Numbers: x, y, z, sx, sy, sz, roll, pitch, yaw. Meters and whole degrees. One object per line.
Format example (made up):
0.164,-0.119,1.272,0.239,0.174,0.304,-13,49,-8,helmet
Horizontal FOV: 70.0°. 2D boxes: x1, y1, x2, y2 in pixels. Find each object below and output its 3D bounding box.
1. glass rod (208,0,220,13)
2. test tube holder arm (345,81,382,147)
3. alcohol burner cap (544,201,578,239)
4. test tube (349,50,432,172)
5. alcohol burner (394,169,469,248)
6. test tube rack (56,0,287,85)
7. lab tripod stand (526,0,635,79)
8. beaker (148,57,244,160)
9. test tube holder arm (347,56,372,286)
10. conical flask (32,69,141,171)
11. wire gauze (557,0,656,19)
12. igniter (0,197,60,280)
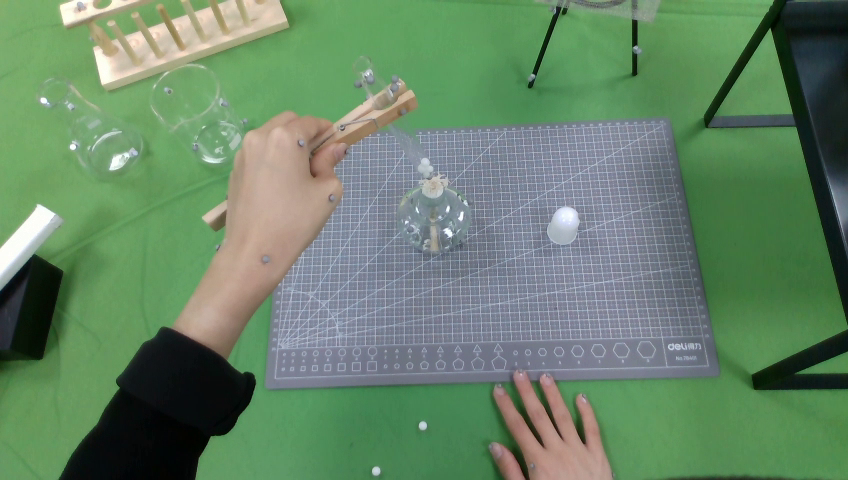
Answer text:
-0.282,-0.340,0.695,0.008,0.201,0.008,-4,61,8,glass rod
-0.047,-0.091,0.463,0.015,0.088,0.010,3,66,-15,test tube holder arm
0.146,-0.024,0.640,0.034,0.048,0.033,-1,68,2,alcohol burner cap
-0.022,-0.096,0.481,0.017,0.152,0.017,-7,64,16,test tube
0.007,-0.037,0.613,0.078,0.120,0.077,0,67,1,alcohol burner
-0.303,-0.282,0.743,0.242,0.086,0.066,-22,68,-6,test tube rack
0.183,-0.258,0.685,0.148,0.132,0.147,0,67,1,lab tripod stand
-0.250,-0.139,0.677,0.074,0.101,0.083,12,69,8,beaker
-0.052,-0.052,0.476,0.015,0.013,0.178,1,94,-19,test tube holder arm
-0.376,-0.136,0.669,0.075,0.123,0.075,-1,68,3,conical flask
0.187,-0.286,0.623,0.121,0.011,0.124,19,71,8,wire gauze
-0.464,0.073,0.590,0.057,0.025,0.275,25,71,22,igniter
